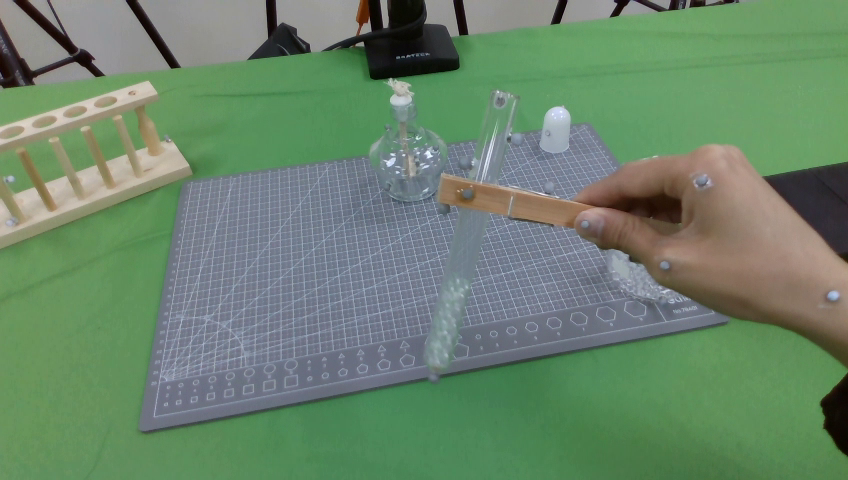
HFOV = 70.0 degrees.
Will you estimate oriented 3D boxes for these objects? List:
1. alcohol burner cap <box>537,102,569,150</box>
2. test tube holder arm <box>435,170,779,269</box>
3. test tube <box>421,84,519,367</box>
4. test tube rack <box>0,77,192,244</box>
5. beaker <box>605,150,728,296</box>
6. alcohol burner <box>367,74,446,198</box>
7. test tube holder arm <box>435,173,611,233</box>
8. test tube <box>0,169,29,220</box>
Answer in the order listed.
[{"bbox_3d":[0.138,-0.124,0.645,0.034,0.048,0.033,-2,43,2],"label":"alcohol burner cap"},{"bbox_3d":[0.094,-0.011,0.312,0.178,0.015,0.013,12,18,-2],"label":"test tube holder arm"},{"bbox_3d":[0.022,-0.004,0.310,0.017,0.150,0.017,13,13,-3],"label":"test tube"},{"bbox_3d":[-0.369,-0.073,0.597,0.242,0.086,0.066,-26,48,-23],"label":"test tube rack"},{"bbox_3d":[0.183,-0.012,0.481,0.074,0.101,0.083,-31,49,-26],"label":"beaker"},{"bbox_3d":[-0.019,-0.101,0.578,0.078,0.120,0.077,-3,42,3],"label":"alcohol burner"},{"bbox_3d":[0.050,-0.018,0.304,0.088,0.015,0.010,11,17,-7],"label":"test tube holder arm"},{"bbox_3d":[-0.398,-0.078,0.540,0.017,0.152,0.017,-3,43,3],"label":"test tube"}]
